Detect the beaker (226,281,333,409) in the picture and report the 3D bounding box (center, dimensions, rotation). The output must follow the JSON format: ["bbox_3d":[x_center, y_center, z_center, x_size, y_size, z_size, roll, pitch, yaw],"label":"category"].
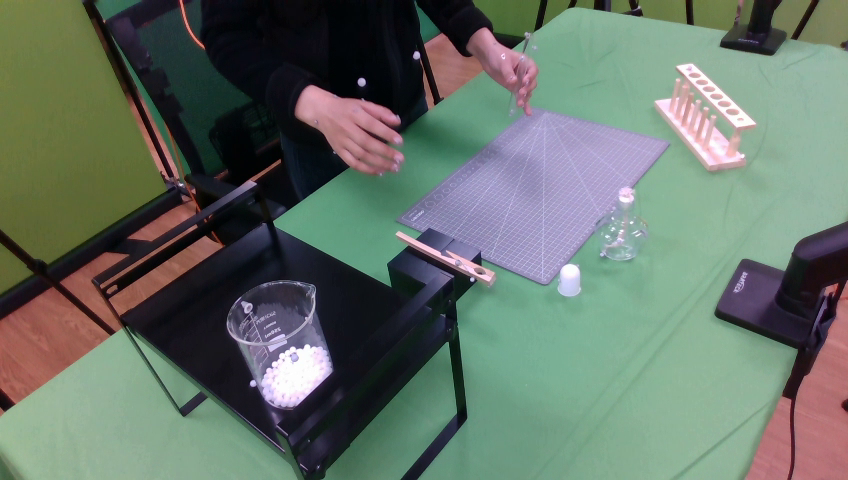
[{"bbox_3d":[-0.123,0.096,0.546,0.073,0.101,0.084,27,51,33],"label":"beaker"}]

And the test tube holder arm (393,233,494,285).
[{"bbox_3d":[0.024,0.025,0.871,0.177,0.015,0.013,22,56,31],"label":"test tube holder arm"}]

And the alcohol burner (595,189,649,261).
[{"bbox_3d":[0.294,-0.028,0.894,0.078,0.119,0.077,-4,43,4],"label":"alcohol burner"}]

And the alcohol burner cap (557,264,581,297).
[{"bbox_3d":[0.208,0.055,0.866,0.034,0.048,0.033,-4,42,4],"label":"alcohol burner cap"}]

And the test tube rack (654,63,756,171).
[{"bbox_3d":[0.510,-0.233,1.120,0.067,0.085,0.241,-8,41,-1],"label":"test tube rack"}]

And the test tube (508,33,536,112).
[{"bbox_3d":[0.165,-0.282,1.033,0.017,0.150,0.017,5,47,-4],"label":"test tube"}]

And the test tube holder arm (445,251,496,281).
[{"bbox_3d":[0.063,0.036,0.851,0.087,0.015,0.010,23,57,32],"label":"test tube holder arm"}]
